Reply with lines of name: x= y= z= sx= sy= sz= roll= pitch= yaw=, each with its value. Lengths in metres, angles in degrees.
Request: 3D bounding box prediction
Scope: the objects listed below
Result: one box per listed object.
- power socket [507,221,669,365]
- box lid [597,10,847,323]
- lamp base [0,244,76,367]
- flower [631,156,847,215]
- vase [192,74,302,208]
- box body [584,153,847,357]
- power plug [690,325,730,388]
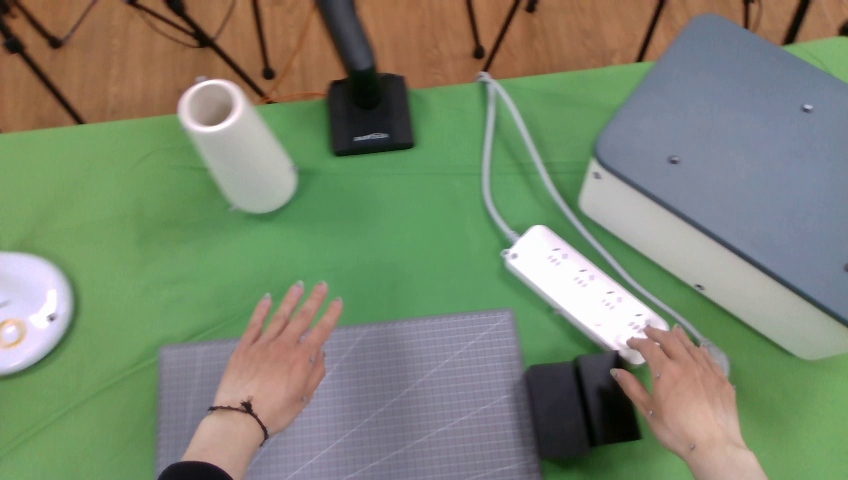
power socket: x=0.206 y=0.064 z=0.765 sx=0.225 sy=0.033 sz=0.072 roll=42 pitch=75 yaw=16
box lid: x=0.409 y=-0.087 z=0.668 sx=0.369 sy=0.015 sz=0.263 roll=37 pitch=75 yaw=14
lamp base: x=-0.539 y=0.046 z=0.710 sx=0.160 sy=0.181 sz=0.178 roll=-35 pitch=69 yaw=-12
flower: x=0.455 y=-0.064 z=0.812 sx=0.359 sy=0.038 sz=0.044 roll=22 pitch=61 yaw=29
vase: x=-0.216 y=-0.118 z=0.756 sx=0.098 sy=0.201 sz=0.097 roll=0 pitch=67 yaw=1
box body: x=0.410 y=-0.060 z=0.737 sx=0.362 sy=0.161 sz=0.253 roll=37 pitch=74 yaw=14
power plug: x=0.340 y=0.146 z=0.739 sx=0.052 sy=0.035 sz=0.072 roll=-39 pitch=29 yaw=0
